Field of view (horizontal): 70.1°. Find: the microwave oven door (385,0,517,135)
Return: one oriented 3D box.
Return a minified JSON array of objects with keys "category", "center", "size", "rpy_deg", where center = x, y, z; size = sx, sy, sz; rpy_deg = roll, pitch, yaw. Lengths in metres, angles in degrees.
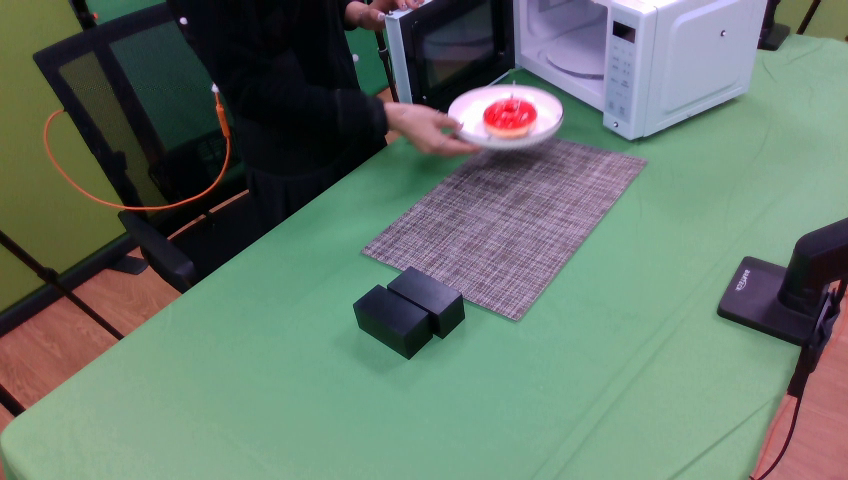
[{"category":"microwave oven door","center":[0.071,-0.406,1.251],"size":[0.039,0.245,0.357],"rpy_deg":[26,51,35]}]

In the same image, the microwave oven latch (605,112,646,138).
[{"category":"microwave oven latch","center":[0.375,-0.217,1.130],"size":[0.030,0.029,0.078],"rpy_deg":[-25,42,-16]}]

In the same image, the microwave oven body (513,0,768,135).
[{"category":"microwave oven body","center":[0.410,-0.441,1.235],"size":[0.327,0.261,0.437],"rpy_deg":[-25,42,-16]}]

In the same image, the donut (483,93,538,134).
[{"category":"donut","center":[0.154,-0.225,1.075],"size":[0.099,0.048,0.098],"rpy_deg":[-4,41,4]}]

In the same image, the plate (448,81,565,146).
[{"category":"plate","center":[0.147,-0.224,1.092],"size":[0.209,0.038,0.208],"rpy_deg":[-2,40,2]}]
